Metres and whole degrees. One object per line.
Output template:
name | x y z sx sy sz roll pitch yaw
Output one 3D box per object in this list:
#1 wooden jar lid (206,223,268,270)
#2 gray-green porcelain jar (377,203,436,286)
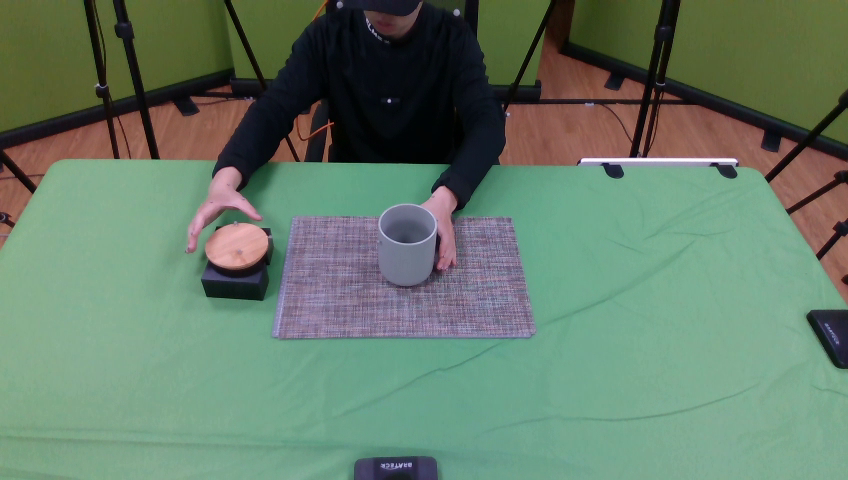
wooden jar lid | -0.336 0.013 1.093 0.108 0.021 0.107 2 45 -2
gray-green porcelain jar | -0.033 0.014 1.106 0.106 0.127 0.105 2 46 -2
